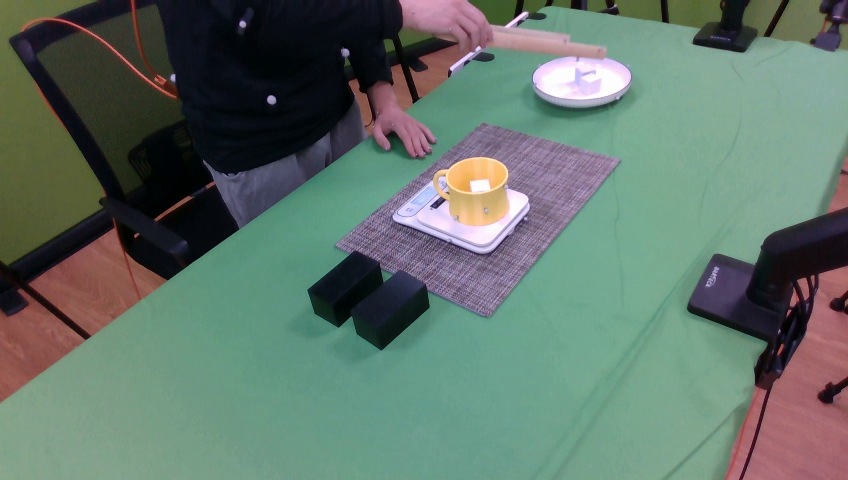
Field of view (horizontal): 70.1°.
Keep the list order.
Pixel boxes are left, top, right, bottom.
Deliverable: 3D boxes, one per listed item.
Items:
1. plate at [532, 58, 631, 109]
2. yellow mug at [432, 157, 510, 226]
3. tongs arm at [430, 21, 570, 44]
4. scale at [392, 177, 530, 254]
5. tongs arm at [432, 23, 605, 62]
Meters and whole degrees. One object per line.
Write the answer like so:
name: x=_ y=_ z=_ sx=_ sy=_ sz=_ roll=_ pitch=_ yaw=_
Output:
plate: x=0.336 y=-0.336 z=1.301 sx=0.207 sy=0.039 sz=0.206 roll=-4 pitch=41 yaw=4
yellow mug: x=0.072 y=-0.082 z=0.968 sx=0.130 sy=0.064 sz=0.100 roll=13 pitch=45 yaw=24
tongs arm: x=0.157 y=-0.389 z=1.160 sx=0.390 sy=0.028 sz=0.028 roll=-10 pitch=38 yaw=-39
scale: x=0.060 y=-0.050 z=1.006 sx=0.199 sy=0.032 sz=0.149 roll=22 pitch=48 yaw=30
tongs arm: x=0.188 y=-0.363 z=1.120 sx=0.388 sy=0.026 sz=0.050 roll=-6 pitch=32 yaw=-34
